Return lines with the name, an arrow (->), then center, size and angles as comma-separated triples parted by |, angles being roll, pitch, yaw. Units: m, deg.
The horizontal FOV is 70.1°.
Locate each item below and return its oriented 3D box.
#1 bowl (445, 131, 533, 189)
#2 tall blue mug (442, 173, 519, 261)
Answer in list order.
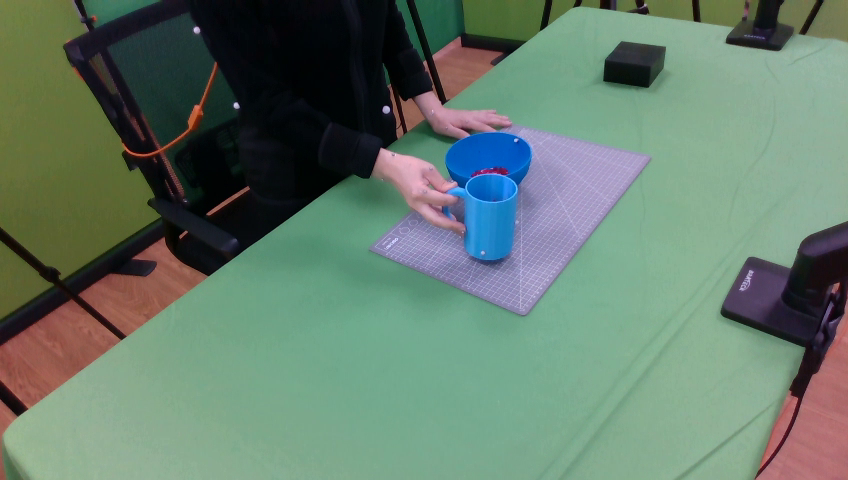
bowl -> 0.115, -0.118, 1.056 | 0.151, 0.077, 0.150 | -6, 40, 5
tall blue mug -> 0.083, -0.033, 0.899 | 0.107, 0.108, 0.077 | -5, 40, -4
